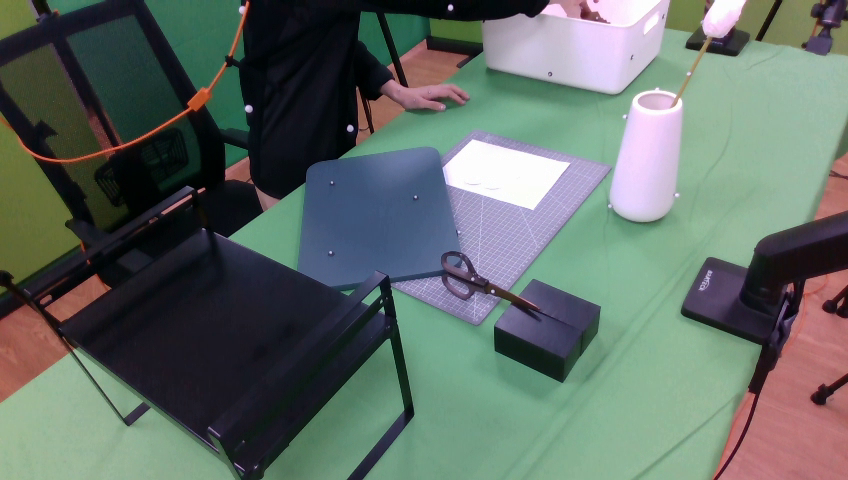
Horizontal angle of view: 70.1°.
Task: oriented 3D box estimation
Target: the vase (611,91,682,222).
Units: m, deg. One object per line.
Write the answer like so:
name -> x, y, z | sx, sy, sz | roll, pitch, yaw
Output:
vase -> 0.348, -0.125, 0.935 | 0.098, 0.201, 0.097 | -3, 40, 3

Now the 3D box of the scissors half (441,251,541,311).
scissors half -> 0.087, 0.056, 0.824 | 0.173, 0.040, 0.013 | 30, 43, 35

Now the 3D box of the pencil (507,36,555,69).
pencil -> 0.261, -0.455, 1.470 | 0.012, 0.012, 0.194 | 29, 54, 35

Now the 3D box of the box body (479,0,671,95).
box body -> 0.339, -0.480, 1.381 | 0.361, 0.161, 0.255 | 22, 48, 30

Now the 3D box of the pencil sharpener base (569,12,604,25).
pencil sharpener base -> 0.366, -0.456, 1.376 | 0.076, 0.107, 0.061 | 1, 45, 8

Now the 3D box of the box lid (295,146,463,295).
box lid -> -0.084, -0.048, 1.052 | 0.263, 0.015, 0.369 | -9, 40, 0

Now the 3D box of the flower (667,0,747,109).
flower -> 0.354, -0.187, 0.879 | 0.038, 0.362, 0.044 | 30, 48, 14

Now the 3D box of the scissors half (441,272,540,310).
scissors half -> 0.088, 0.075, 0.832 | 0.013, 0.040, 0.173 | -22, 22, -39

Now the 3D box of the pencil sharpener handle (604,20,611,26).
pencil sharpener handle -> 0.416, -0.464, 1.362 | 0.030, 0.068, 0.036 | 1, 47, 8
